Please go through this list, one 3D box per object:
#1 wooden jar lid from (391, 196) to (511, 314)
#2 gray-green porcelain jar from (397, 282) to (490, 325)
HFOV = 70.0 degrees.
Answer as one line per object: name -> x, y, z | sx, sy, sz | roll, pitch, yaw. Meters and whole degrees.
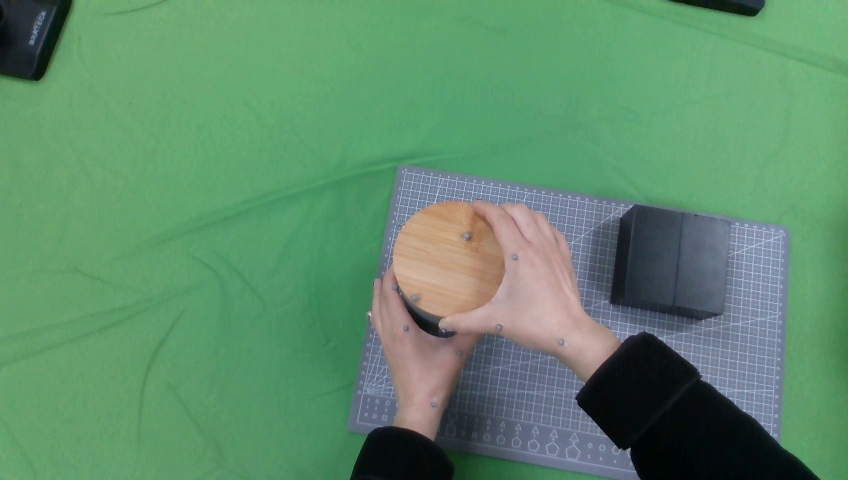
wooden jar lid -> 0.024, 0.014, 0.547 | 0.108, 0.021, 0.108 | 0, 76, 2
gray-green porcelain jar -> 0.024, 0.030, 0.608 | 0.106, 0.127, 0.105 | 0, 77, -1
